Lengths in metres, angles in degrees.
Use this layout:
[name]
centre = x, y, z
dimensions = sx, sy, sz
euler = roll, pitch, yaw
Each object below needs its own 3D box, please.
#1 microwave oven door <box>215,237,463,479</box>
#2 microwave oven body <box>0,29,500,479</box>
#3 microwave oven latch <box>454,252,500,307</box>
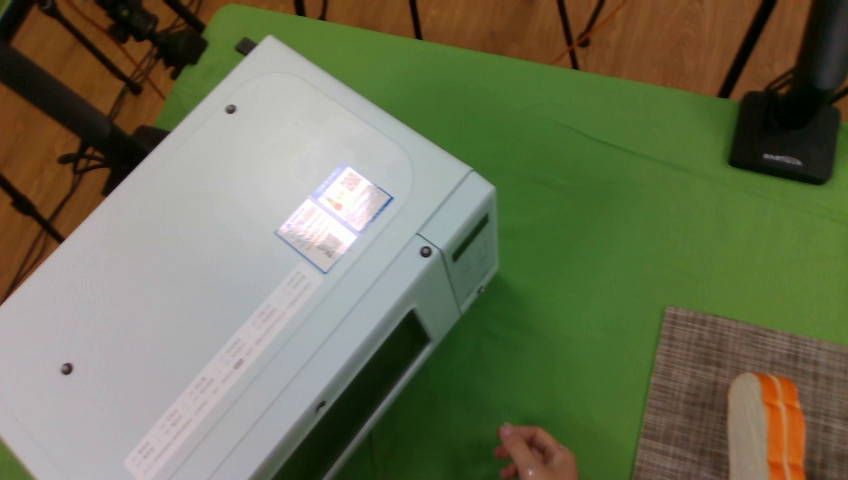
[microwave oven door]
centre = -0.091, 0.172, 0.602
dimensions = 0.039, 0.245, 0.355
euler = 36, 78, 19
[microwave oven body]
centre = -0.177, 0.061, 0.660
dimensions = 0.324, 0.262, 0.441
euler = 36, 79, 18
[microwave oven latch]
centre = 0.061, 0.043, 0.738
dimensions = 0.030, 0.030, 0.079
euler = 38, 80, 18
